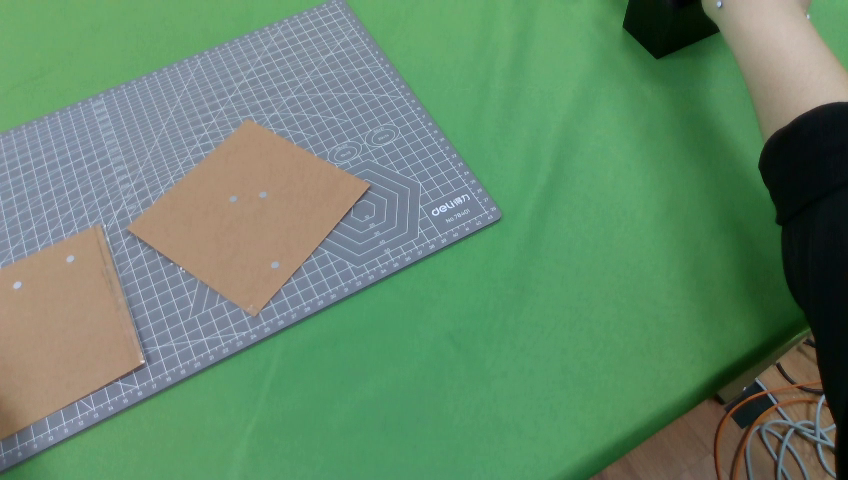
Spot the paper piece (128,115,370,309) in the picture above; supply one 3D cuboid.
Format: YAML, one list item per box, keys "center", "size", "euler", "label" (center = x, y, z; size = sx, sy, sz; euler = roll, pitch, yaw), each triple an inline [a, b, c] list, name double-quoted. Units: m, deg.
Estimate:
- center: [-0.135, -0.030, 0.470]
  size: [0.135, 0.004, 0.135]
  euler: [30, 66, 19]
  label: "paper piece"

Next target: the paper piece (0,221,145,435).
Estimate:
- center: [-0.277, 0.062, 0.427]
  size: [0.138, 0.009, 0.134]
  euler: [-28, 57, -10]
  label: "paper piece"
